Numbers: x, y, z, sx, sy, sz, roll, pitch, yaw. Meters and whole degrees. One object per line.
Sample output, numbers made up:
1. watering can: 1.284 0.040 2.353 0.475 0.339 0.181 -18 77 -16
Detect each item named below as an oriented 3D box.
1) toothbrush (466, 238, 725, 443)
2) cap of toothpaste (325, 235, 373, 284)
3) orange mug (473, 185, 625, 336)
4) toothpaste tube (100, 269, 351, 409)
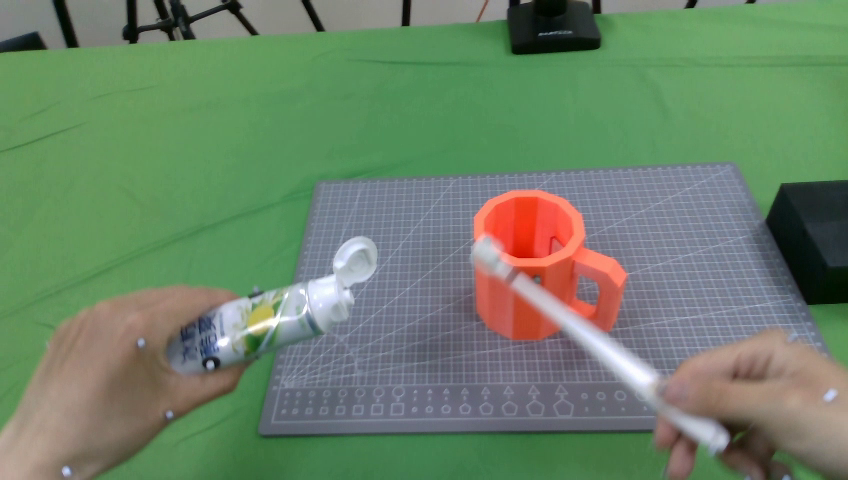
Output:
1. toothbrush: 0.091 0.052 0.351 0.014 0.017 0.180 -36 57 -26
2. cap of toothpaste: -0.047 0.014 0.397 0.037 0.038 0.011 -35 39 -24
3. orange mug: 0.098 0.023 0.493 0.125 0.102 0.083 20 52 28
4. toothpaste tube: -0.125 0.054 0.380 0.165 0.035 0.054 -18 59 1
